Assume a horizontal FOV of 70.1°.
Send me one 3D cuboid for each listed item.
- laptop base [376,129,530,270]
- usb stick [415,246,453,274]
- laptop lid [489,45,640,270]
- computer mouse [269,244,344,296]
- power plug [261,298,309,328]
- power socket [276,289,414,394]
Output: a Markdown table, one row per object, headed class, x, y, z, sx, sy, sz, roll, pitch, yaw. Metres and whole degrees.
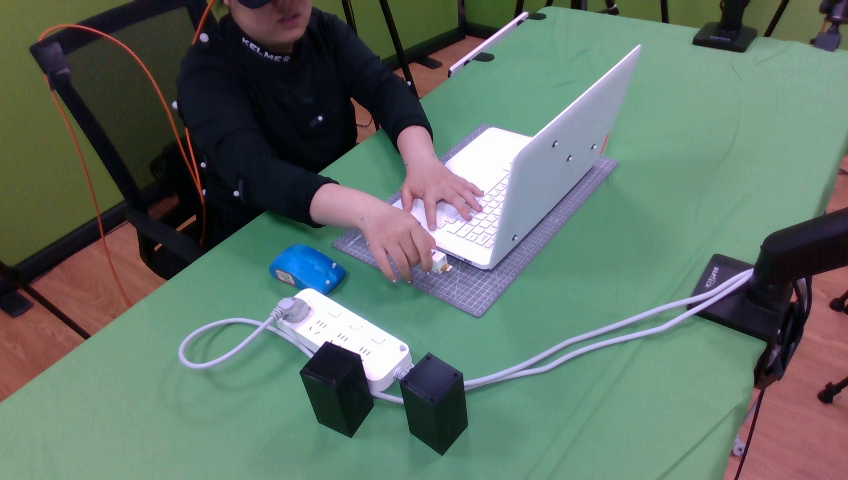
| class | x | y | z | sx | sy | sz | roll | pitch | yaw |
| --- | --- | --- | --- | --- | --- | --- | --- | --- | --- |
| laptop base | 0.115 | -0.086 | 1.057 | 0.233 | 0.023 | 0.355 | 21 | 48 | 34 |
| usb stick | 0.016 | 0.031 | 0.883 | 0.059 | 0.027 | 0.021 | 23 | 47 | 29 |
| laptop lid | 0.214 | -0.125 | 0.907 | 0.013 | 0.242 | 0.358 | 33 | 52 | 22 |
| computer mouse | -0.182 | 0.044 | 0.932 | 0.116 | 0.041 | 0.063 | 22 | 48 | 26 |
| power plug | -0.192 | 0.107 | 0.830 | 0.073 | 0.053 | 0.035 | -33 | 43 | -26 |
| power socket | -0.114 | 0.133 | 0.821 | 0.225 | 0.033 | 0.072 | 25 | 49 | 33 |
